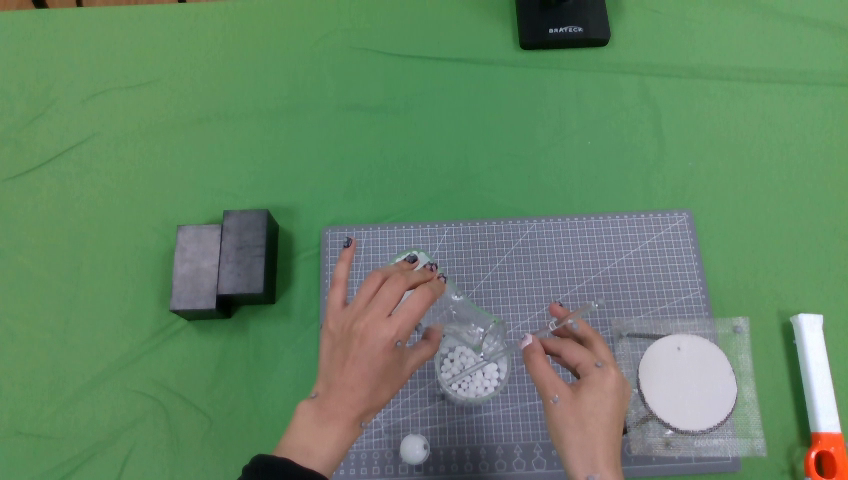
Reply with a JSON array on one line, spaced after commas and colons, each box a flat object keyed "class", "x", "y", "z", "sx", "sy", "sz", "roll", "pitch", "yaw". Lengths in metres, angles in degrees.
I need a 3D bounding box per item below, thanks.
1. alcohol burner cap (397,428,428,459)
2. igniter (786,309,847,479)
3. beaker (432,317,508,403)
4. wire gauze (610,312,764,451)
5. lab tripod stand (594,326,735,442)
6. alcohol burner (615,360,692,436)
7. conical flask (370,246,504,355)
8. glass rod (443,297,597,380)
[{"class": "alcohol burner cap", "x": -0.013, "y": 0.213, "z": 0.635, "sx": 0.034, "sy": 0.048, "sz": 0.033, "roll": 0, "pitch": 72, "yaw": 1}, {"class": "igniter", "x": 0.423, "y": 0.210, "z": 0.642, "sx": 0.057, "sy": 0.025, "sz": 0.274, "roll": 5, "pitch": 71, "yaw": -9}, {"class": "beaker", "x": 0.047, "y": 0.129, "z": 0.632, "sx": 0.074, "sy": 0.101, "sz": 0.083, "roll": 20, "pitch": 72, "yaw": 7}, {"class": "wire gauze", "x": 0.234, "y": 0.125, "z": 0.542, "sx": 0.125, "sy": 0.011, "sz": 0.120, "roll": 0, "pitch": 73, "yaw": 1}, {"class": "lab tripod stand", "x": 0.235, "y": 0.149, "z": 0.605, "sx": 0.148, "sy": 0.132, "sz": 0.147, "roll": 0, "pitch": 73, "yaw": 1}, {"class": "alcohol burner", "x": 0.237, "y": 0.158, "z": 0.613, "sx": 0.078, "sy": 0.120, "sz": 0.077, "roll": -1, "pitch": 71, "yaw": 3}, {"class": "conical flask", "x": 0.015, "y": 0.059, "z": 0.548, "sx": 0.120, "sy": 0.076, "sz": 0.075, "roll": 28, "pitch": 71, "yaw": 37}, {"class": "glass rod", "x": 0.078, "y": 0.093, "z": 0.542, "sx": 0.008, "sy": 0.200, "sz": 0.008, "roll": 21, "pitch": 50, "yaw": -28}]
